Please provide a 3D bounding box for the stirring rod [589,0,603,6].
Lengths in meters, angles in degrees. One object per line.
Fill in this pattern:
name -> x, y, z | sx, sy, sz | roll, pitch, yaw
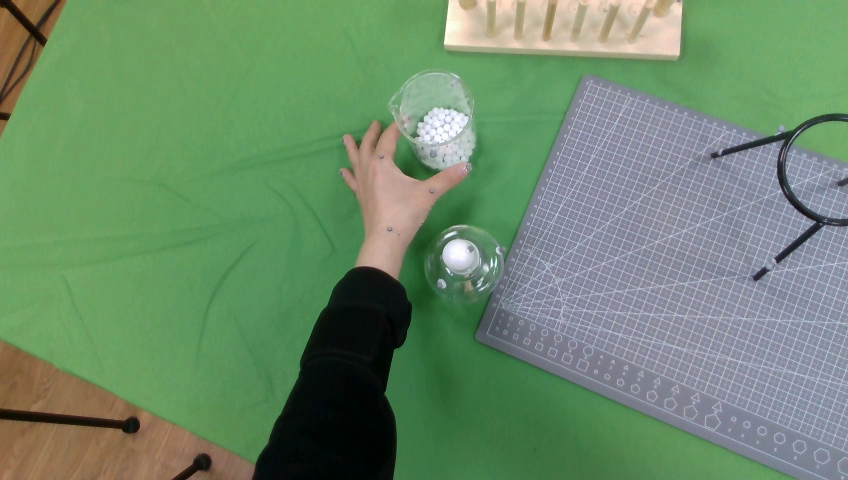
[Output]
stirring rod -> 0.171, -0.267, 0.527 | 0.014, 0.177, 0.006 | 29, 74, 10

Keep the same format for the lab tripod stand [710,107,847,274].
lab tripod stand -> 0.328, -0.046, 0.530 | 0.148, 0.132, 0.148 | -1, 83, 6

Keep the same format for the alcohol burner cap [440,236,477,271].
alcohol burner cap -> 0.029, 0.010, 0.536 | 0.034, 0.048, 0.034 | -1, 85, 8

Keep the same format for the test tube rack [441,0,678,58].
test tube rack -> 0.136, -0.237, 0.608 | 0.242, 0.085, 0.066 | 5, 82, 8

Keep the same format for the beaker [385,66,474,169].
beaker -> 0.010, -0.116, 0.600 | 0.084, 0.100, 0.074 | 8, 83, 9

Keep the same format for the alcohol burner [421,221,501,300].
alcohol burner -> 0.034, 0.017, 0.572 | 0.078, 0.119, 0.077 | -1, 81, 6
